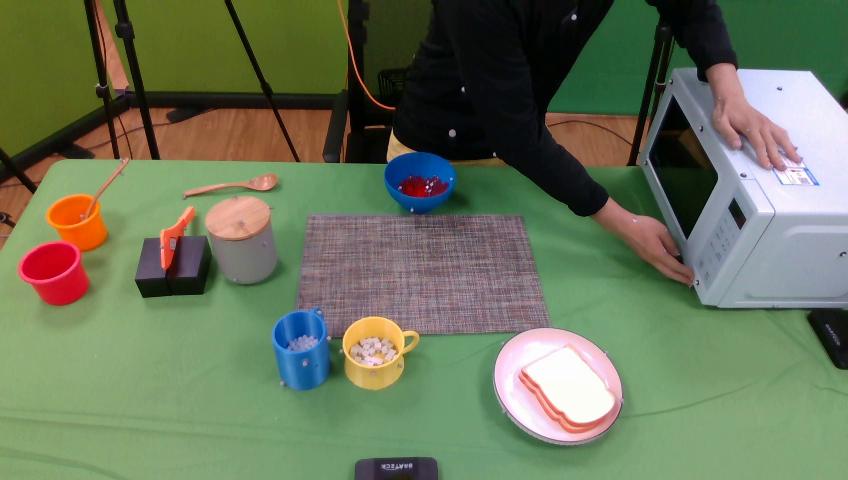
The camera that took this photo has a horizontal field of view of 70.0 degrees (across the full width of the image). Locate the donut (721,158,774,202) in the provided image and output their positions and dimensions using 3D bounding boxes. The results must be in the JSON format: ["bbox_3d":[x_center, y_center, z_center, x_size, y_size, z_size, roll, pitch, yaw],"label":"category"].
[{"bbox_3d":[0.648,-0.121,1.216,0.099,0.048,0.098,-3,56,4],"label":"donut"}]

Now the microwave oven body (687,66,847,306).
[{"bbox_3d":[0.669,-0.111,1.176,0.326,0.261,0.439,0,46,-3],"label":"microwave oven body"}]

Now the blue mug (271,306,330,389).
[{"bbox_3d":[-0.188,0.163,0.969,0.082,0.106,0.116,15,47,10],"label":"blue mug"}]

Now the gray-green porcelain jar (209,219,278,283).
[{"bbox_3d":[-0.323,0.007,1.092,0.106,0.127,0.105,2,46,-2],"label":"gray-green porcelain jar"}]

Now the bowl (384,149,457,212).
[{"bbox_3d":[-0.009,-0.112,1.262,0.151,0.077,0.150,2,46,-2],"label":"bowl"}]

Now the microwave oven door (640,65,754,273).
[{"bbox_3d":[0.523,-0.147,1.193,0.039,0.245,0.353,0,47,-3],"label":"microwave oven door"}]

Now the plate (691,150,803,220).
[{"bbox_3d":[0.653,-0.108,1.237,0.209,0.038,0.208,0,45,1],"label":"plate"}]

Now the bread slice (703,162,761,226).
[{"bbox_3d":[0.648,-0.102,1.268,0.105,0.019,0.131,14,72,11],"label":"bread slice"}]

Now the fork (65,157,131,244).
[{"bbox_3d":[-0.608,-0.074,1.133,0.207,0.019,0.028,-52,51,10],"label":"fork"}]

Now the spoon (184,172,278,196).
[{"bbox_3d":[-0.405,-0.116,1.275,0.194,0.022,0.041,-8,65,-12],"label":"spoon"}]

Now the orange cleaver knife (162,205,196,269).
[{"bbox_3d":[-0.454,-0.010,1.129,0.012,0.077,0.210,-2,20,-5],"label":"orange cleaver knife"}]

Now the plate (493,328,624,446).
[{"bbox_3d":[0.213,0.236,0.974,0.208,0.039,0.206,2,46,-2],"label":"plate"}]

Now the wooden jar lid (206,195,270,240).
[{"bbox_3d":[-0.319,-0.036,1.046,0.108,0.021,0.107,1,44,0],"label":"wooden jar lid"}]

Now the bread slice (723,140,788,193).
[{"bbox_3d":[0.661,-0.148,1.201,0.107,0.018,0.133,-1,53,9],"label":"bread slice"}]

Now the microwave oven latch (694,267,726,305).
[{"bbox_3d":[0.523,0.082,1.115,0.030,0.029,0.078,3,46,0],"label":"microwave oven latch"}]

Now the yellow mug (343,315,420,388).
[{"bbox_3d":[-0.067,0.177,0.990,0.131,0.064,0.099,-16,50,-19],"label":"yellow mug"}]
